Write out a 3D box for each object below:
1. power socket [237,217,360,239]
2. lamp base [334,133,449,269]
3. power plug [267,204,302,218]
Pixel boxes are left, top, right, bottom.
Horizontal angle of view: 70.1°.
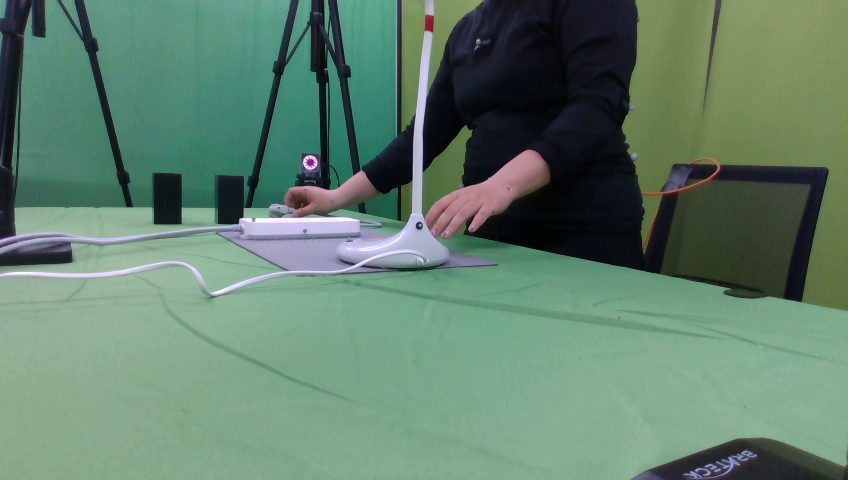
[{"bbox_3d":[-0.221,-0.023,1.080,0.228,0.032,0.072,-2,8,-33],"label":"power socket"},{"bbox_3d":[-0.034,-0.057,0.830,0.161,0.180,0.178,-3,12,-36],"label":"lamp base"},{"bbox_3d":[-0.329,-0.060,1.405,0.073,0.035,0.052,24,-22,-23],"label":"power plug"}]
